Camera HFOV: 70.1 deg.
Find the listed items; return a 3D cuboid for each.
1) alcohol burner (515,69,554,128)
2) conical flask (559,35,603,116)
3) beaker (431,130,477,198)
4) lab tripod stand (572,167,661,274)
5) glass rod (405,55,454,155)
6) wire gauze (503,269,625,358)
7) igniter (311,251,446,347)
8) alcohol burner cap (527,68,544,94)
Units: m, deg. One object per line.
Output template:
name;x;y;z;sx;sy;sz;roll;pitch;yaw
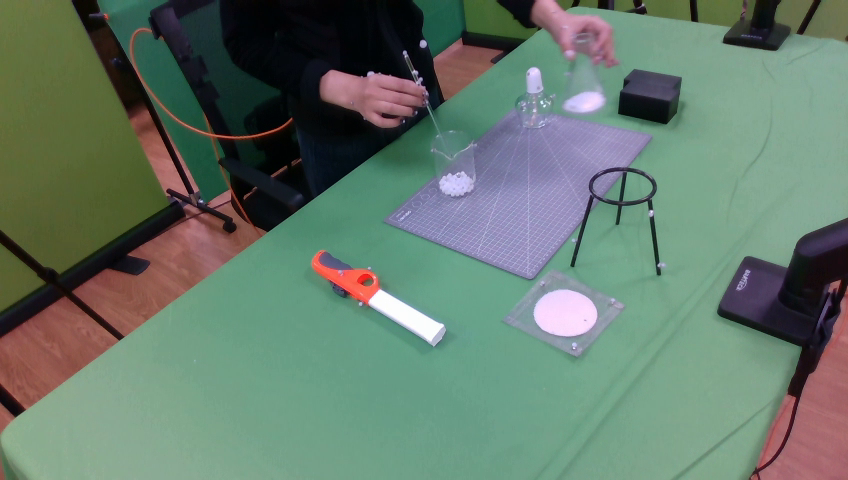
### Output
alcohol burner;0.221;-0.285;1.203;0.078;0.119;0.077;-4;39;4
conical flask;0.260;-0.276;1.007;0.075;0.122;0.075;-8;35;6
beaker;0.055;-0.130;1.064;0.074;0.101;0.083;-4;41;8
lab tripod stand;0.283;-0.030;0.879;0.148;0.132;0.147;-7;38;6
glass rod;0.012;-0.214;0.981;0.008;0.201;0.008;-17;42;16
wire gauze;0.194;0.100;0.840;0.120;0.011;0.125;27;54;36
igniter;-0.078;0.081;0.899;0.274;0.025;0.057;27;62;35
alcohol burner cap;0.216;-0.312;1.179;0.034;0.048;0.033;-10;40;9
